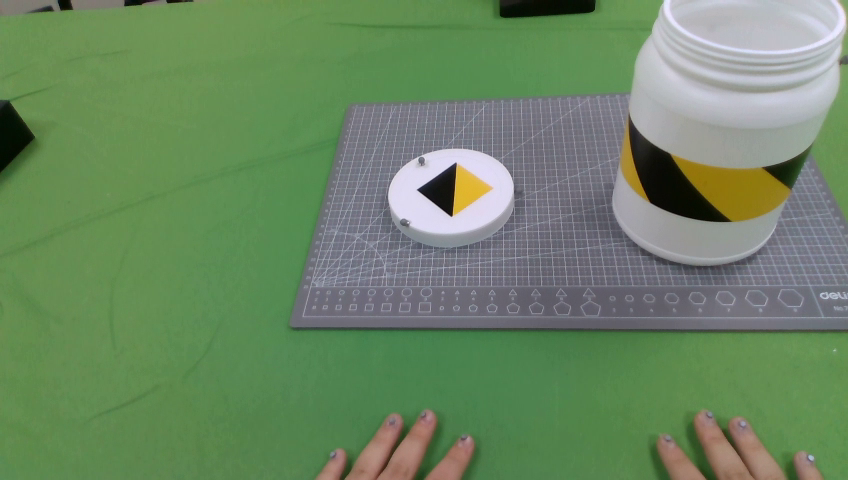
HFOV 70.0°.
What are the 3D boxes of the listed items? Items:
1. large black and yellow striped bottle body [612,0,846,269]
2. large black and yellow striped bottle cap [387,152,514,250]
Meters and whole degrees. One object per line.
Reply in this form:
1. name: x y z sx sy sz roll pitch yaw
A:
1. large black and yellow striped bottle body: 0.217 -0.082 0.452 0.131 0.186 0.129 -4 47 5
2. large black and yellow striped bottle cap: 0.024 -0.039 0.552 0.115 0.019 0.114 -3 48 3
